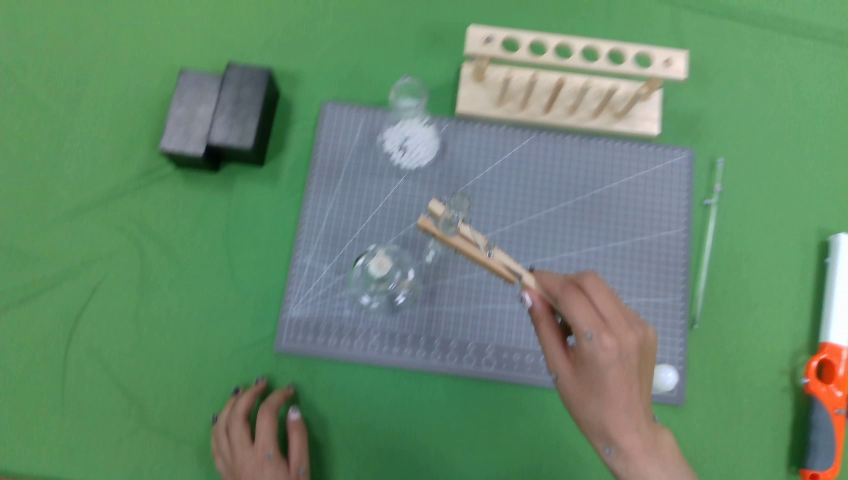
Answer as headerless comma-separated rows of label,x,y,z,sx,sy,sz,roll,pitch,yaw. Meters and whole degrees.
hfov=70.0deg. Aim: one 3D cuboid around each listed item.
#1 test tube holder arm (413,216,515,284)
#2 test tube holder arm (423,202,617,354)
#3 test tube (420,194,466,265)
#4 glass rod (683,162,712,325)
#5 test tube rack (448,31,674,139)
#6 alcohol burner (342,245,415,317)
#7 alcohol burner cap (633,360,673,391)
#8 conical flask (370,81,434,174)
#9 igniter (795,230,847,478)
test tube holder arm,0.032,0.008,0.462,0.088,0.015,0.010,29,77,2
test tube holder arm,0.072,0.029,0.461,0.178,0.015,0.013,36,78,3
test tube,0.013,-0.004,0.477,0.017,0.150,0.017,2,74,-7
glass rod,0.318,0.001,0.702,0.008,0.008,0.199,14,78,2
test tube rack,0.153,-0.177,0.704,0.242,0.085,0.066,6,76,0
alcohol burner,-0.049,0.038,0.627,0.078,0.120,0.077,0,74,1
alcohol burner cap,0.246,0.143,0.644,0.034,0.048,0.033,0,74,-1
conical flask,-0.025,-0.127,0.665,0.075,0.122,0.075,0,75,-1
igniter,0.442,0.122,0.665,0.057,0.025,0.275,17,76,-7
